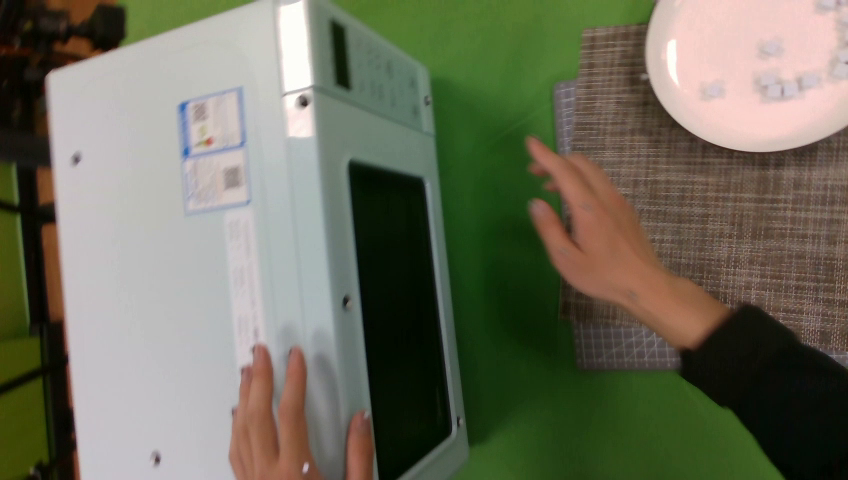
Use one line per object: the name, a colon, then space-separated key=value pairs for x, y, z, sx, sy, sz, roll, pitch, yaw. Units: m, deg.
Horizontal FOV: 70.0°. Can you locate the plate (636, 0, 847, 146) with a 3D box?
plate: x=0.300 y=-0.185 z=0.537 sx=0.208 sy=0.038 sz=0.209 roll=0 pitch=91 yaw=24

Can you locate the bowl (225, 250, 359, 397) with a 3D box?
bowl: x=-0.126 y=0.084 z=0.647 sx=0.151 sy=0.077 sz=0.151 roll=0 pitch=91 yaw=23

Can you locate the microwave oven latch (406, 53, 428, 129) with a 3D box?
microwave oven latch: x=-0.016 y=-0.160 z=0.661 sx=0.030 sy=0.029 sz=0.079 roll=-8 pitch=90 yaw=23

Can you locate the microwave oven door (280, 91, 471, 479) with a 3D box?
microwave oven door: x=-0.033 y=0.059 z=0.566 sx=0.039 sy=0.245 sz=0.355 roll=-8 pitch=89 yaw=24

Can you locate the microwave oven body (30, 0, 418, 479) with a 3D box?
microwave oven body: x=-0.169 y=0.036 z=0.629 sx=0.325 sy=0.261 sz=0.441 roll=-8 pitch=89 yaw=23
